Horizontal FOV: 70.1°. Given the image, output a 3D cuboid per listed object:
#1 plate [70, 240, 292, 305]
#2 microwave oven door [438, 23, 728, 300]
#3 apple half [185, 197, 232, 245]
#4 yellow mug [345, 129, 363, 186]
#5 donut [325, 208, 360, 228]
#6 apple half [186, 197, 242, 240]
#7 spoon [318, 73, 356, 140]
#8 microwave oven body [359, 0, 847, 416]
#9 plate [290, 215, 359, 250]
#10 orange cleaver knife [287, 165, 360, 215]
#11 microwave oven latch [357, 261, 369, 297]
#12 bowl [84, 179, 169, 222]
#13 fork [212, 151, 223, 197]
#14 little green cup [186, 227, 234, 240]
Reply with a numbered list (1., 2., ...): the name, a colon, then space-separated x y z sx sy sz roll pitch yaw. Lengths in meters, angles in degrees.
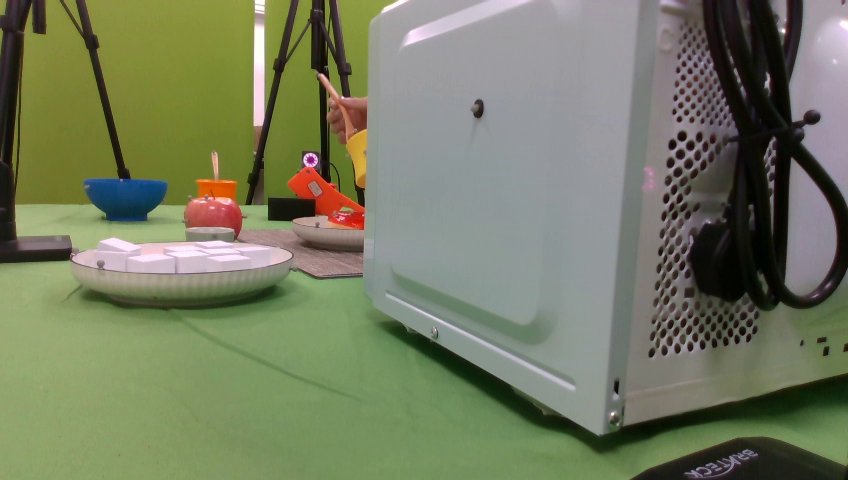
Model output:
1. plate: -0.242 0.031 0.618 0.208 0.039 0.207 2 8 0
2. microwave oven door: 0.181 -0.072 0.621 0.358 0.243 0.039 -2 8 -29
3. apple half: -0.337 -0.031 0.928 0.032 0.081 0.082 13 13 37
4. yellow mug: -0.062 -0.137 0.935 0.100 0.064 0.130 -11 -12 -27
5. donut: -0.110 -0.025 0.974 0.099 0.048 0.099 5 7 0
6. apple half: -0.306 -0.026 0.904 0.053 0.074 0.081 14 9 37
7. spoon: -0.135 -0.211 1.003 0.042 0.193 0.021 0 -34 -46
8. microwave oven body: 0.211 -0.047 0.474 0.444 0.260 0.324 -1 7 -28
9. plate: -0.110 -0.013 0.973 0.209 0.038 0.209 2 8 0
10. orange cleaver knife: -0.211 -0.092 1.382 0.212 0.077 0.012 33 1 -15
11. microwave oven latch: -0.019 0.033 0.531 0.079 0.029 0.030 -1 7 -27
12. bowl: -0.584 -0.078 1.194 0.151 0.077 0.151 3 8 0
13. fork: -0.494 -0.143 1.442 0.028 0.018 0.206 -2 52 -20
14. little green cup: -0.285 0.005 0.805 0.061 0.038 0.061 2 8 0
